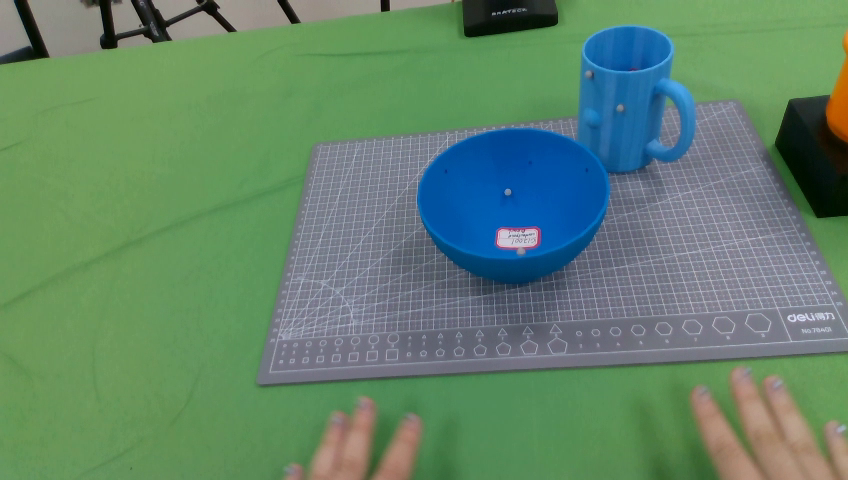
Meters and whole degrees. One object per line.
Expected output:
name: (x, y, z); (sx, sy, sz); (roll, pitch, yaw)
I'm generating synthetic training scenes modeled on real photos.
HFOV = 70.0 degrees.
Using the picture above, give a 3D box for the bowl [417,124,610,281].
bowl: (0.073, -0.019, 0.500); (0.151, 0.077, 0.150); (-5, 48, 6)

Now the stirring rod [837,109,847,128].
stirring rod: (0.391, -0.149, 0.449); (0.176, 0.006, 0.014); (-46, 42, 28)

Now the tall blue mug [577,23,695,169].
tall blue mug: (0.195, -0.126, 0.551); (0.106, 0.109, 0.077); (15, 52, 23)
